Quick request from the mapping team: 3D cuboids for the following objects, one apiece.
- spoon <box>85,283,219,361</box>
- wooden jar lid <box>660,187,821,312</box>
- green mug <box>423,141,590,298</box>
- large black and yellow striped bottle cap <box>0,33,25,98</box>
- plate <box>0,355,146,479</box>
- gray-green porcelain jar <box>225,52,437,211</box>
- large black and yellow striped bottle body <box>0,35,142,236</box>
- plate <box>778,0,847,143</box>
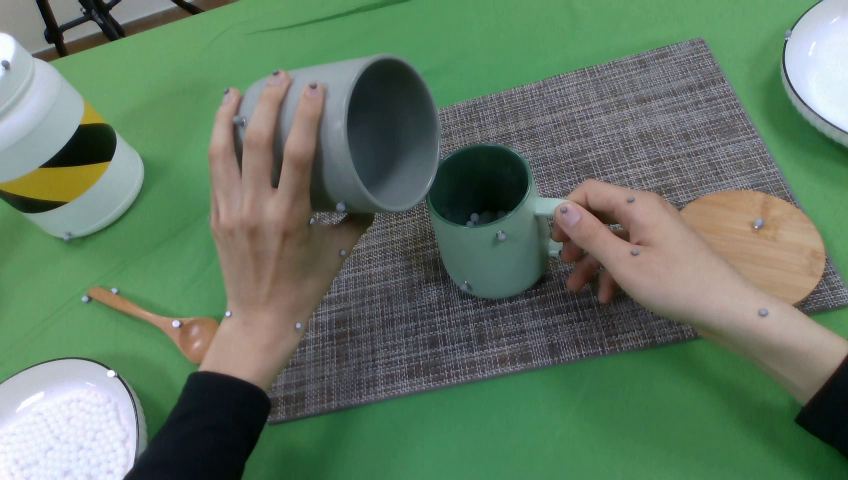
[{"bbox_3d":[-0.260,0.068,0.568,0.192,0.022,0.041,16,81,25],"label":"spoon"},{"bbox_3d":[0.236,0.008,0.457,0.108,0.021,0.107,-8,57,13],"label":"wooden jar lid"},{"bbox_3d":[0.064,-0.012,0.470,0.125,0.106,0.092,6,59,20],"label":"green mug"},{"bbox_3d":[-0.421,-0.145,0.551,0.115,0.019,0.114,-8,55,12],"label":"large black and yellow striped bottle cap"},{"bbox_3d":[-0.317,0.197,0.492,0.209,0.038,0.207,-7,56,12],"label":"plate"},{"bbox_3d":[-0.070,-0.074,0.439,0.126,0.107,0.105,3,58,35],"label":"gray-green porcelain jar"},{"bbox_3d":[-0.401,-0.103,0.619,0.130,0.186,0.129,-7,56,12],"label":"large black and yellow striped bottle body"},{"bbox_3d":[0.406,-0.142,0.498,0.207,0.039,0.205,-8,56,12],"label":"plate"}]
